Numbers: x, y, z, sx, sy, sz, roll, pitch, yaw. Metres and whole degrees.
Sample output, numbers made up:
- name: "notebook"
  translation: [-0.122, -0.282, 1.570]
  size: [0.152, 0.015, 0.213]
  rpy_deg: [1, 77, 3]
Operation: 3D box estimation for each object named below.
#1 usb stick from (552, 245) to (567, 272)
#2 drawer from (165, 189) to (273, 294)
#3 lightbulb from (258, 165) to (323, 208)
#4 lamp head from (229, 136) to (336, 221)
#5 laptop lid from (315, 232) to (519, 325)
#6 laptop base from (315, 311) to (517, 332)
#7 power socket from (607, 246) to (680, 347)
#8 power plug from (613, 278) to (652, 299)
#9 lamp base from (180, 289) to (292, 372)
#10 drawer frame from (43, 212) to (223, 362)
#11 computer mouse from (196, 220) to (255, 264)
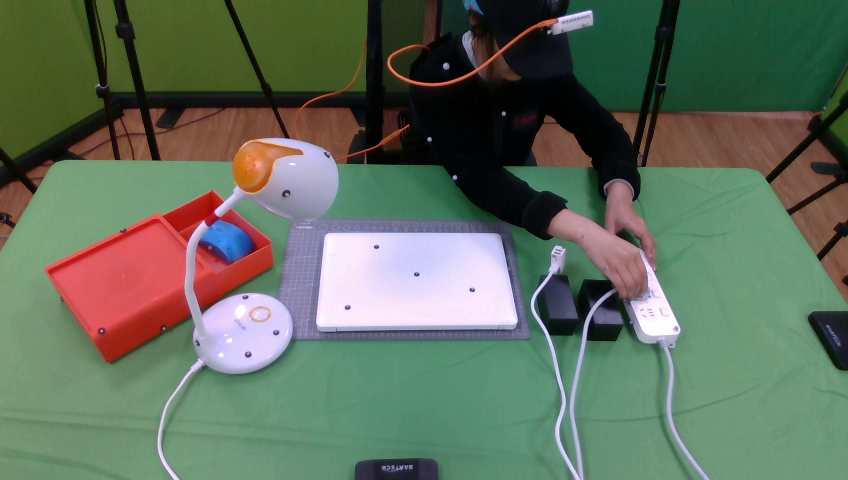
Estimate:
- name: "usb stick"
  translation: [0.251, 0.039, 1.124]
  size: [0.021, 0.059, 0.027]
  rpy_deg: [14, 48, 26]
- name: "drawer"
  translation: [-0.419, 0.022, 1.108]
  size: [0.193, 0.073, 0.211]
  rpy_deg: [37, 55, 27]
- name: "lightbulb"
  translation: [-0.180, -0.076, 0.809]
  size: [0.059, 0.059, 0.108]
  rpy_deg: [36, 10, 27]
- name: "lamp head"
  translation: [-0.195, -0.085, 0.791]
  size: [0.112, 0.112, 0.123]
  rpy_deg: [36, 14, 27]
- name: "laptop lid"
  translation: [-0.015, 0.065, 1.118]
  size: [0.357, 0.013, 0.240]
  rpy_deg: [1, 43, -3]
- name: "laptop base"
  translation: [-0.016, 0.075, 1.124]
  size: [0.355, 0.023, 0.234]
  rpy_deg: [0, 42, -4]
- name: "power socket"
  translation: [0.403, 0.096, 1.122]
  size: [0.072, 0.033, 0.225]
  rpy_deg: [-3, 47, -5]
- name: "power plug"
  translation: [0.375, 0.089, 1.098]
  size: [0.072, 0.053, 0.035]
  rpy_deg: [3, 47, 5]
- name: "lamp base"
  translation: [-0.309, 0.108, 0.958]
  size: [0.160, 0.181, 0.179]
  rpy_deg: [29, 55, 22]
- name: "drawer frame"
  translation: [-0.497, 0.073, 1.049]
  size: [0.213, 0.083, 0.200]
  rpy_deg: [-34, 57, -31]
- name: "computer mouse"
  translation: [-0.380, -0.002, 1.152]
  size: [0.116, 0.041, 0.062]
  rpy_deg: [28, 52, 28]
